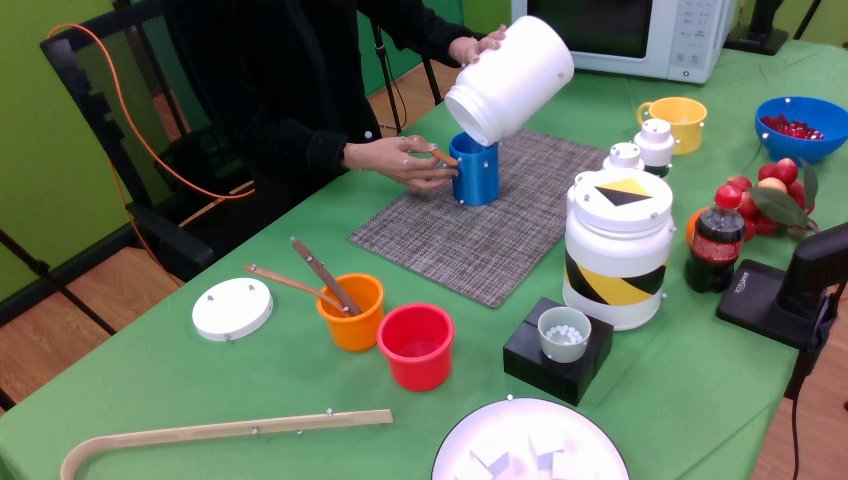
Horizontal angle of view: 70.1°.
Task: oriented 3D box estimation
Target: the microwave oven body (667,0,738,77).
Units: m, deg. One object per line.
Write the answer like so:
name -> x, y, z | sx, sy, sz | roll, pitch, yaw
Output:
microwave oven body -> 0.462, -0.552, 1.369 | 0.439, 0.261, 0.326 | 15, 45, 26

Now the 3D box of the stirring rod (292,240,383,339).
stirring rod -> -0.118, 0.068, 0.825 | 0.176, 0.006, 0.014 | 48, 59, -4

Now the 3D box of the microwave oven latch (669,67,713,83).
microwave oven latch -> 0.556, -0.349, 1.261 | 0.078, 0.029, 0.030 | 16, 46, 27

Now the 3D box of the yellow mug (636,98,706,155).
yellow mug -> 0.453, -0.217, 1.128 | 0.100, 0.064, 0.129 | -34, 46, -27

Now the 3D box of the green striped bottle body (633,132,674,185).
green striped bottle body -> 0.376, -0.135, 1.001 | 0.063, 0.120, 0.063 | -5, 40, 5

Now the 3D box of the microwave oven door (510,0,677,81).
microwave oven door -> 0.354, -0.478, 1.290 | 0.353, 0.245, 0.039 | 15, 45, 25

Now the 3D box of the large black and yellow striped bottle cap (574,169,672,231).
large black and yellow striped bottle cap -> 0.242, -0.051, 0.738 | 0.115, 0.019, 0.114 | -4, 37, 3

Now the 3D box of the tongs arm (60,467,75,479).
tongs arm -> -0.239, 0.301, 0.649 | 0.386, 0.028, 0.028 | 6, 49, 16

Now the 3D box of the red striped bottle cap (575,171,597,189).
red striped bottle cap -> 0.242, -0.081, 0.876 | 0.044, 0.018, 0.044 | -5, 44, 5

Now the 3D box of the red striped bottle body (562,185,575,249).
red striped bottle body -> 0.247, -0.041, 0.910 | 0.063, 0.120, 0.062 | 0, 38, 1

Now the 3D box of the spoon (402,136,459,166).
spoon -> 0.009, -0.148, 1.011 | 0.042, 0.022, 0.192 | -32, 26, -11

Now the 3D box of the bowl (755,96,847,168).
bowl -> 0.645, -0.177, 1.041 | 0.151, 0.077, 0.150 | -5, 40, 4

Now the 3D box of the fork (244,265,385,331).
fork -> -0.142, 0.078, 0.806 | 0.209, 0.018, 0.028 | 30, 34, -24

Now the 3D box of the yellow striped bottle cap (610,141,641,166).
yellow striped bottle cap -> 0.308, -0.131, 0.925 | 0.044, 0.019, 0.044 | -4, 46, 5

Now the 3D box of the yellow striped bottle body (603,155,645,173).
yellow striped bottle body -> 0.314, -0.091, 0.957 | 0.063, 0.121, 0.062 | -4, 40, 4

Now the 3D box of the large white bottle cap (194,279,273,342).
large white bottle cap -> -0.284, 0.103, 0.902 | 0.115, 0.018, 0.114 | -4, 40, 4

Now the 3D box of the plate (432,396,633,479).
plate -> 0.112, 0.261, 0.635 | 0.209, 0.038, 0.208 | -5, 40, 4

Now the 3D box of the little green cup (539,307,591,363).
little green cup -> 0.167, 0.114, 0.721 | 0.061, 0.039, 0.061 | -4, 43, 4

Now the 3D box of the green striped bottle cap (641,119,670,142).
green striped bottle cap -> 0.371, -0.175, 0.968 | 0.044, 0.020, 0.044 | -4, 42, 4

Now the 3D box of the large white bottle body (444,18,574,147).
large white bottle body -> 0.134, -0.251, 0.981 | 0.184, 0.131, 0.129 | -43, 47, -4

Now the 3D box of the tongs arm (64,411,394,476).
tongs arm -> -0.228, 0.241, 0.715 | 0.385, 0.026, 0.050 | -5, 44, 4

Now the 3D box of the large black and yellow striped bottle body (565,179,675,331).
large black and yellow striped bottle body -> 0.254, 0.014, 0.793 | 0.131, 0.185, 0.130 | -5, 40, 4

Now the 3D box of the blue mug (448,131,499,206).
blue mug -> 0.090, -0.135, 1.050 | 0.082, 0.106, 0.116 | 2, 41, 11
